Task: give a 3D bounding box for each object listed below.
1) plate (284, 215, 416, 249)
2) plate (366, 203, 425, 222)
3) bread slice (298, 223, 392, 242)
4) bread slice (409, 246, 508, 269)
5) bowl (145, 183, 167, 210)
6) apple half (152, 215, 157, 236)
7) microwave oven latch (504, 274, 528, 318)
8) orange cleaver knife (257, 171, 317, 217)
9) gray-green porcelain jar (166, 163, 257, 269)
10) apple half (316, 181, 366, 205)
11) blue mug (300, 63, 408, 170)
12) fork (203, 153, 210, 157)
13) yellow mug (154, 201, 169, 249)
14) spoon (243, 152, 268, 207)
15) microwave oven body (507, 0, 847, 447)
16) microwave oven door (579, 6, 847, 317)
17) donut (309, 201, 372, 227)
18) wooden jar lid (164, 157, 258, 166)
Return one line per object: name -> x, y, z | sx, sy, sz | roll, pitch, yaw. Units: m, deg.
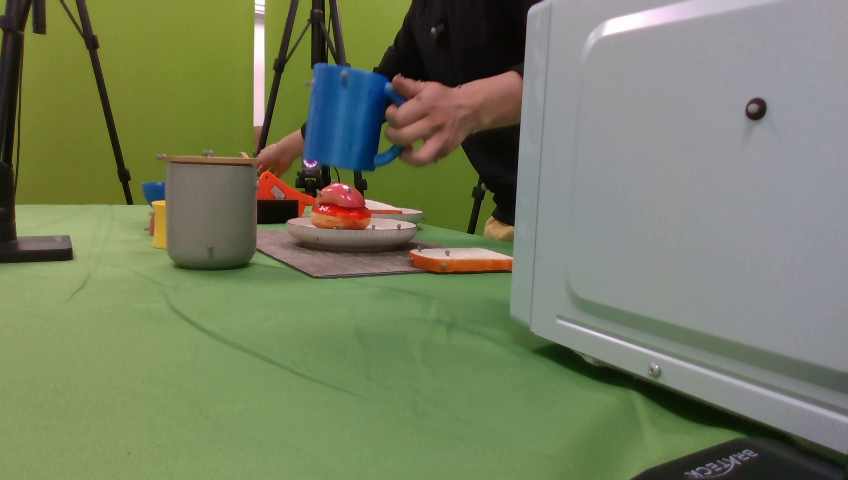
plate -> -0.117, -0.014, 0.967 | 0.208, 0.039, 0.207 | 2, 7, 0
plate -> -0.102, -0.053, 1.299 | 0.209, 0.038, 0.209 | 2, 8, 0
bread slice -> -0.120, -0.014, 0.970 | 0.106, 0.018, 0.135 | 8, 10, 41
bread slice -> 0.048, 0.022, 0.816 | 0.132, 0.019, 0.104 | 0, 7, -24
bowl -> -0.459, -0.069, 1.175 | 0.151, 0.077, 0.151 | 2, 7, 0
apple half -> -0.415, -0.034, 1.017 | 0.081, 0.053, 0.074 | 1, 10, -8
microwave oven latch -> 0.100, 0.041, 0.470 | 0.079, 0.029, 0.030 | -1, 7, -26
orange cleaver knife -> -0.283, -0.086, 1.342 | 0.212, 0.077, 0.012 | 24, -14, -40
gray-green porcelain jar -> -0.263, -0.032, 0.754 | 0.106, 0.126, 0.106 | 2, 7, 0
apple half -> -0.128, -0.076, 0.954 | 0.081, 0.033, 0.081 | 7, 12, -1
blue mug -> -0.074, -0.132, 0.668 | 0.116, 0.106, 0.082 | 11, 9, 10
fork -> -0.480, -0.134, 1.411 | 0.028, 0.018, 0.207 | 1, -35, 0
yellow mug -> -0.337, -0.023, 0.899 | 0.130, 0.064, 0.100 | 8, 10, 34
spoon -> -0.421, -0.155, 1.537 | 0.042, 0.193, 0.021 | -13, -28, -33
microwave oven body -> 0.331, -0.042, 0.425 | 0.444, 0.260, 0.324 | -2, 8, -31
microwave oven door -> 0.294, -0.067, 0.570 | 0.358, 0.243, 0.039 | -3, 9, -31
donut -> -0.132, -0.042, 0.959 | 0.099, 0.048, 0.099 | 2, 7, 0
wooden jar lid -> -0.261, -0.093, 0.746 | 0.108, 0.020, 0.108 | 0, 9, 0
